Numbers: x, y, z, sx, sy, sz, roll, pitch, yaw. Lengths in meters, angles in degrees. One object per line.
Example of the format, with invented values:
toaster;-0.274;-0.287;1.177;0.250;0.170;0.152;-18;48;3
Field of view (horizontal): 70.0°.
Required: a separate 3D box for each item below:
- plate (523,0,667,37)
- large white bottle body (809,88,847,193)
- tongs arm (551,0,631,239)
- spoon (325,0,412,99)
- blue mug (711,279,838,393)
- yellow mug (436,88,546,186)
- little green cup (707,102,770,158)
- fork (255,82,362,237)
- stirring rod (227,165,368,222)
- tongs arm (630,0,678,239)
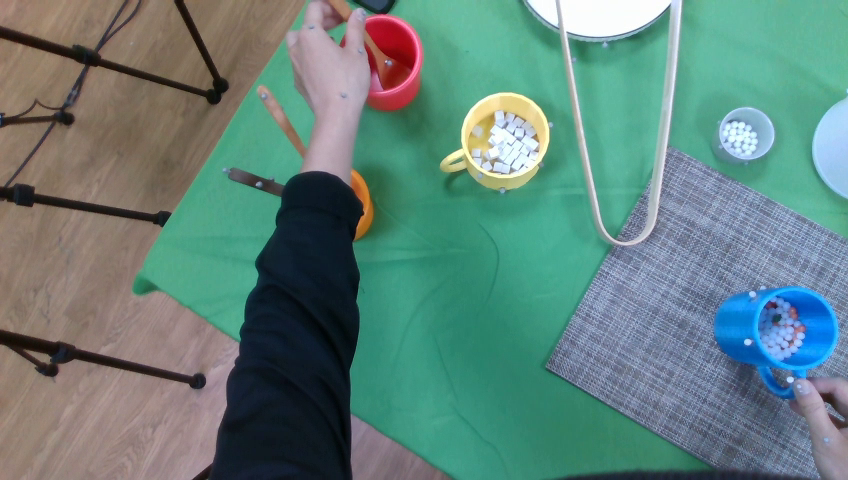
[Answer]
plate;0.208;-0.344;0.740;0.207;0.039;0.207;0;84;5
large white bottle body;0.506;-0.124;0.619;0.130;0.185;0.130;-1;83;5
tongs arm;0.187;-0.188;0.705;0.051;0.026;0.384;-8;90;0
spoon;-0.069;-0.226;0.677;0.021;0.196;0.041;33;83;37
blue mug;0.369;0.102;0.640;0.082;0.106;0.116;-9;83;3
yellow mug;0.076;-0.113;0.710;0.131;0.064;0.099;-22;83;3
little green cup;0.363;-0.125;0.704;0.061;0.039;0.061;0;84;4
fork;-0.128;-0.085;0.680;0.028;0.018;0.209;-32;125;-3
stirring rod;-0.137;-0.050;0.683;0.178;0.006;0.014;19;78;-36
tongs arm;0.271;-0.193;0.702;0.028;0.028;0.387;6;91;-3
